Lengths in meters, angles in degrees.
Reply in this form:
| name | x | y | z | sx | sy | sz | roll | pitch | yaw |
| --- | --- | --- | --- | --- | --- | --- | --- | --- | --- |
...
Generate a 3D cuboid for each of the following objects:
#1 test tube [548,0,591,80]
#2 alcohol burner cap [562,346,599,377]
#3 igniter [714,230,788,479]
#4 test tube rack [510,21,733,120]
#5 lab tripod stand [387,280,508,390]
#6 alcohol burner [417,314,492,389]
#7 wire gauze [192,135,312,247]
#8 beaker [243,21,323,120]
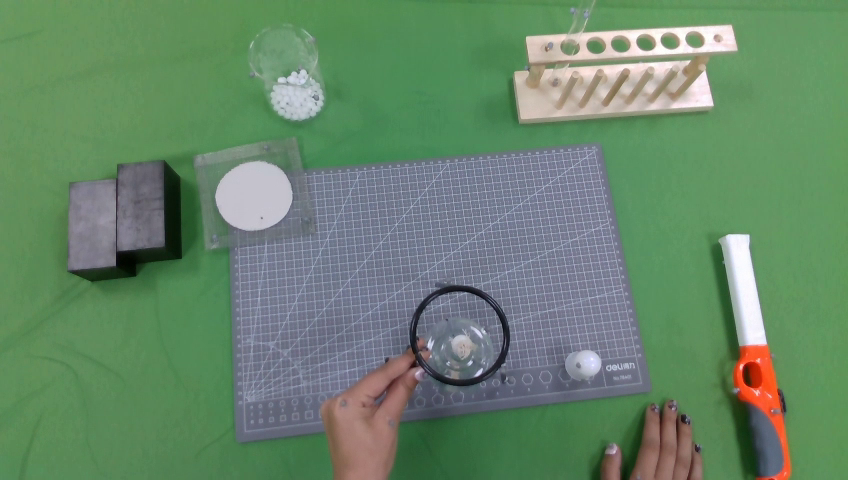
| name | x | y | z | sx | sy | sz | roll | pitch | yaw |
| --- | --- | --- | --- | --- | --- | --- | --- | --- | --- |
| test tube | 0.161 | -0.227 | 0.677 | 0.017 | 0.151 | 0.017 | 1 | 71 | -2 |
| alcohol burner cap | 0.171 | 0.130 | 0.653 | 0.034 | 0.048 | 0.033 | 0 | 74 | -1 |
| igniter | 0.363 | 0.123 | 0.675 | 0.057 | 0.025 | 0.275 | 1 | 75 | -12 |
| test tube rack | 0.233 | -0.200 | 0.724 | 0.242 | 0.085 | 0.066 | -5 | 75 | -4 |
| lab tripod stand | 0.023 | 0.096 | 0.595 | 0.148 | 0.132 | 0.147 | 1 | 73 | -3 |
| alcohol burner | 0.033 | 0.111 | 0.615 | 0.078 | 0.119 | 0.077 | 1 | 73 | -3 |
| wire gauze | -0.202 | -0.058 | 0.702 | 0.125 | 0.011 | 0.120 | -11 | 75 | -5 |
| beaker | -0.154 | -0.187 | 0.695 | 0.074 | 0.100 | 0.083 | -36 | 80 | -10 |
